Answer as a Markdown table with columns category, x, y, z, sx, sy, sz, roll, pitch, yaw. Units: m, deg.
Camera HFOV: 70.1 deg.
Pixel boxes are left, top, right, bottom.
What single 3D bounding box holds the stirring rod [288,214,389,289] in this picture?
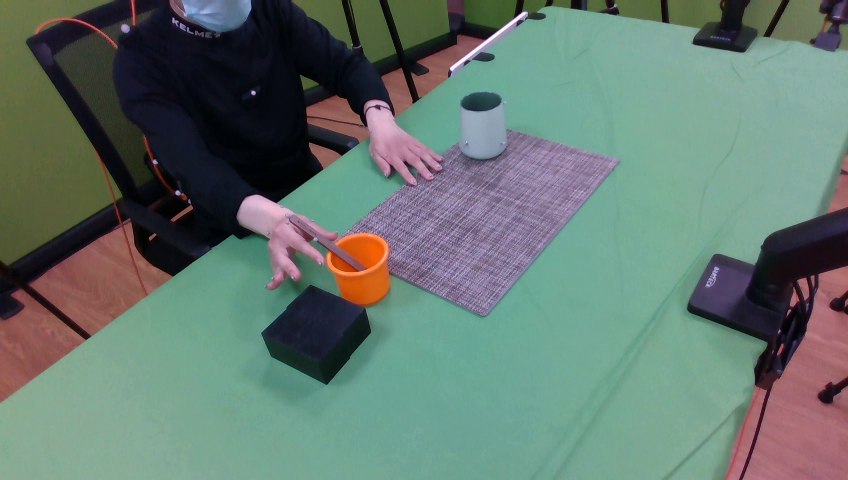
| category | x | y | z | sx | sy | sz | roll | pitch | yaw |
| --- | --- | --- | --- | --- | --- | --- | --- | --- | --- |
| stirring rod | -0.122 | 0.018 | 0.877 | 0.177 | 0.006 | 0.014 | 37 | 45 | -13 |

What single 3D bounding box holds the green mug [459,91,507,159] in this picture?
| category | x | y | z | sx | sy | sz | roll | pitch | yaw |
| --- | --- | --- | --- | --- | --- | --- | --- | --- | --- |
| green mug | 0.116 | -0.225 | 1.144 | 0.092 | 0.105 | 0.125 | 14 | 45 | 23 |
